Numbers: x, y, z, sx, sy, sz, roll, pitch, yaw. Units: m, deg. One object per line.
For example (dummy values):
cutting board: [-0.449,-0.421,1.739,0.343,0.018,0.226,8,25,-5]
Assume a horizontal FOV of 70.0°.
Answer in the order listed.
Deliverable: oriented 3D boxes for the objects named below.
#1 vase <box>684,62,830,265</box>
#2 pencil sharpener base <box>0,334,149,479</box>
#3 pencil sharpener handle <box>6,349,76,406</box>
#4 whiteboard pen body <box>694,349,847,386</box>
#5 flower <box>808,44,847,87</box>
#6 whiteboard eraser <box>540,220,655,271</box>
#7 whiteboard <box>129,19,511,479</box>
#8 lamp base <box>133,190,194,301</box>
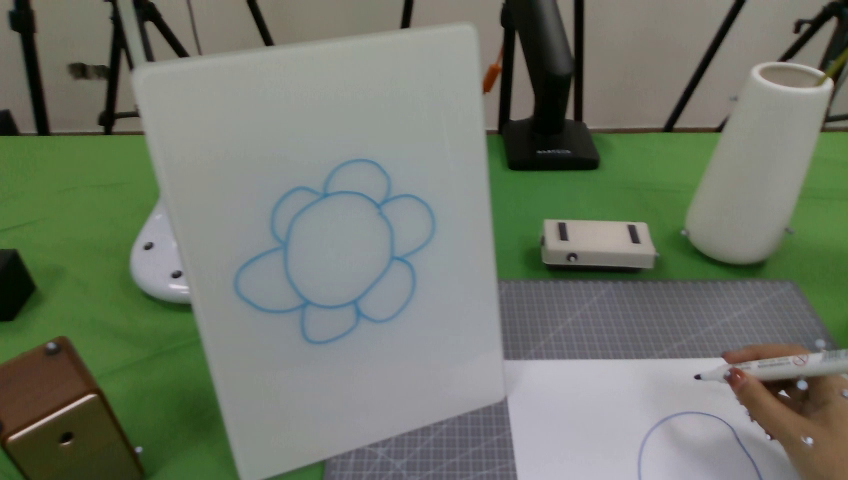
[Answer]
vase: [0.334,-0.071,0.610,0.098,0.202,0.097,1,39,0]
pencil sharpener base: [-0.253,0.132,0.432,0.061,0.108,0.076,-31,47,-32]
pencil sharpener handle: [-0.287,0.099,0.454,0.036,0.068,0.030,-36,50,-26]
whiteboard pen body: [0.250,0.090,0.423,0.017,0.140,0.017,11,68,-29]
flower: [0.343,-0.127,0.548,0.044,0.364,0.038,-16,59,-28]
whiteboard eraser: [0.181,0.007,0.641,0.112,0.042,0.055,1,37,3]
whiteboard: [-0.068,-0.001,0.486,0.218,0.307,0.142,-13,21,-14]
lamp base: [-0.238,-0.056,0.612,0.177,0.182,0.160,27,46,34]
